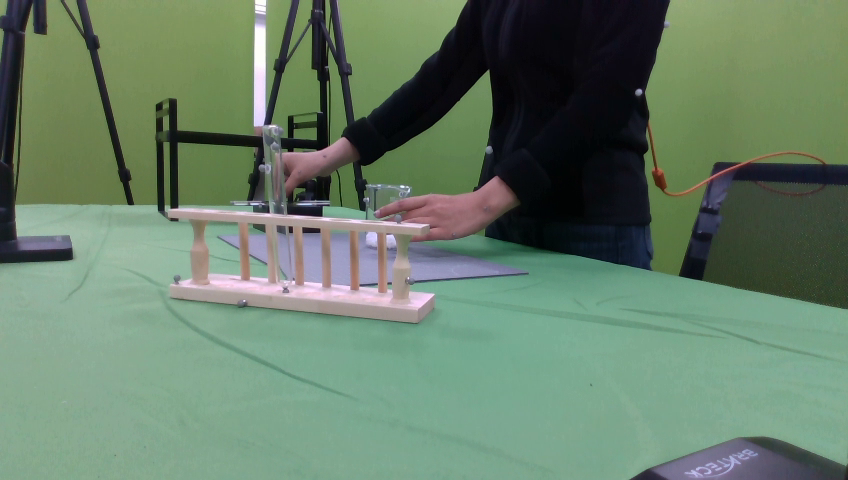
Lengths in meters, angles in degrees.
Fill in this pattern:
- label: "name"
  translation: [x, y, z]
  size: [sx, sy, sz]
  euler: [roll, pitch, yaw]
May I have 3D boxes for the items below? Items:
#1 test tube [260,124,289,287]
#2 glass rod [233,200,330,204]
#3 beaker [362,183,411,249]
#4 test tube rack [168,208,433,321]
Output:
- label: "test tube"
  translation: [-0.138, -0.031, 0.556]
  size: [0.017, 0.150, 0.017]
  euler: [-3, 6, 1]
- label: "glass rod"
  translation: [-0.264, -0.072, 1.145]
  size: [0.201, 0.008, 0.008]
  euler: [-4, 9, -40]
- label: "beaker"
  translation: [-0.057, -0.038, 0.956]
  size: [0.083, 0.100, 0.074]
  euler: [9, 10, 42]
- label: "test tube rack"
  translation: [-0.115, 0.017, 0.574]
  size: [0.242, 0.085, 0.067]
  euler: [4, 8, 13]
